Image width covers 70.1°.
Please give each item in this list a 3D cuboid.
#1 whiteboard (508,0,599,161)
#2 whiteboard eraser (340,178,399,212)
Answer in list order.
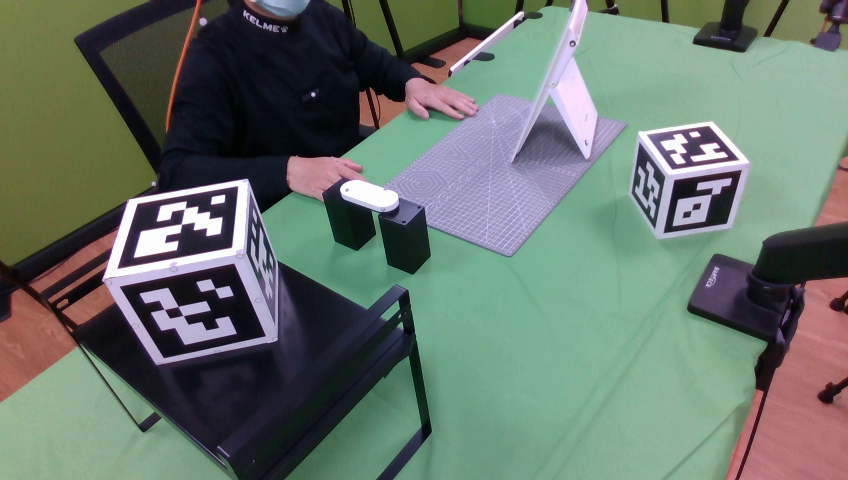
[{"bbox_3d":[0.285,-0.289,1.088,0.144,0.305,0.217,22,45,3],"label":"whiteboard"},{"bbox_3d":[-0.083,-0.068,0.906,0.100,0.019,0.041,20,49,29],"label":"whiteboard eraser"}]
